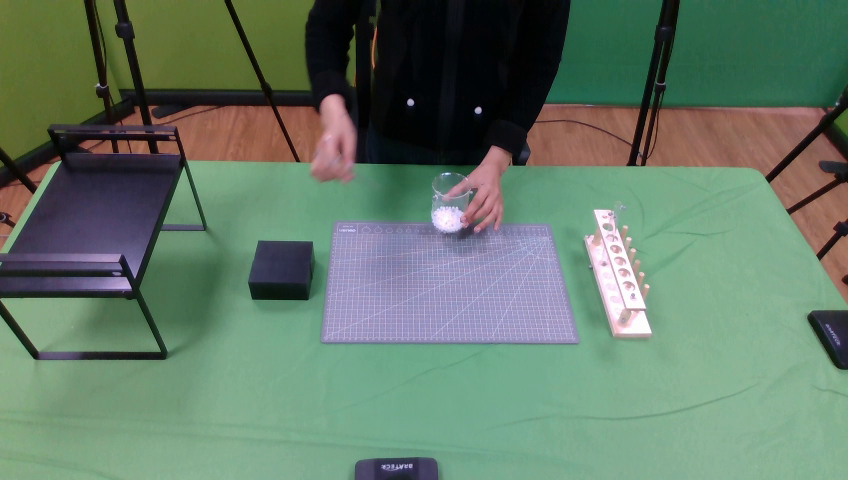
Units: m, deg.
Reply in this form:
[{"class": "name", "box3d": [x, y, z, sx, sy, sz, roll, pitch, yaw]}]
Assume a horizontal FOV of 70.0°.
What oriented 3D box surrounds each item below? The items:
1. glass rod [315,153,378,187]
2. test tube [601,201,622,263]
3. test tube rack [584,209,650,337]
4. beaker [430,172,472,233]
[{"class": "glass rod", "box3d": [-0.129, -0.118, 1.046, 0.008, 0.200, 0.008, -5, 78, 24]}, {"class": "test tube", "box3d": [0.346, -0.012, 1.123, 0.017, 0.151, 0.017, -2, 45, 2]}, {"class": "test tube rack", "box3d": [0.365, 0.056, 1.129, 0.067, 0.085, 0.240, 1, 46, -3]}, {"class": "beaker", "box3d": [0.048, -0.072, 1.171, 0.074, 0.101, 0.083, -18, 49, -20]}]
